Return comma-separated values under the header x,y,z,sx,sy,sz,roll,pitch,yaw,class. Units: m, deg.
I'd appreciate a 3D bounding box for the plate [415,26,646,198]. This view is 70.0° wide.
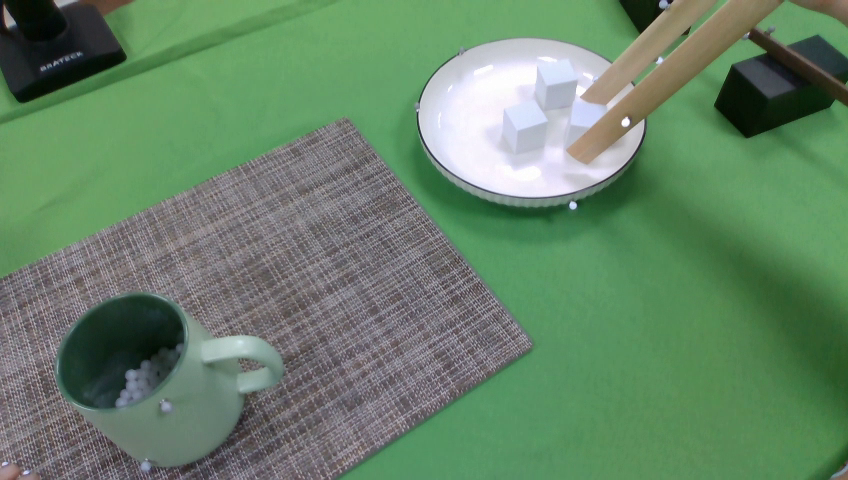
x,y,z,sx,sy,sz,roll,pitch,yaw,class
0.097,-0.119,0.566,0.207,0.039,0.205,-1,57,2,plate

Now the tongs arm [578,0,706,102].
x,y,z,sx,sy,sz,roll,pitch,yaw,class
0.217,-0.195,0.393,0.026,0.385,0.050,30,58,-8,tongs arm

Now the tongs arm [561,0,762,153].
x,y,z,sx,sy,sz,roll,pitch,yaw,class
0.203,-0.163,0.373,0.028,0.388,0.028,33,57,-6,tongs arm

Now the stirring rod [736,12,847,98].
x,y,z,sx,sy,sz,roll,pitch,yaw,class
0.331,-0.165,0.537,0.006,0.014,0.174,-26,59,-18,stirring rod

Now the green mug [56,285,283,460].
x,y,z,sx,sy,sz,roll,pitch,yaw,class
-0.158,0.086,0.402,0.125,0.106,0.091,-10,56,-4,green mug
